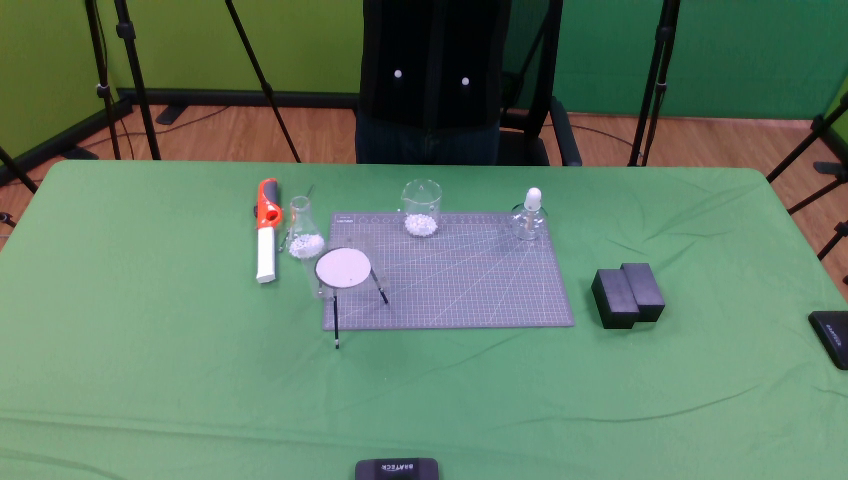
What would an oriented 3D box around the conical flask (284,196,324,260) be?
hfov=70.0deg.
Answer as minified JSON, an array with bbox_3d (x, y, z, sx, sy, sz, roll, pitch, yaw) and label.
[{"bbox_3d":[-0.230,-0.026,1.137,0.075,0.122,0.075,2,45,-2],"label":"conical flask"}]

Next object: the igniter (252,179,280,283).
[{"bbox_3d":[-0.312,-0.027,1.197,0.057,0.025,0.274,-12,47,-2],"label":"igniter"}]

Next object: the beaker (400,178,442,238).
[{"bbox_3d":[-0.009,-0.059,1.200,0.084,0.101,0.073,-14,48,-17],"label":"beaker"}]

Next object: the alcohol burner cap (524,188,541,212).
[{"bbox_3d":[0.212,-0.081,1.177,0.034,0.048,0.033,-2,54,2],"label":"alcohol burner cap"}]

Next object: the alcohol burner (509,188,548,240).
[{"bbox_3d":[0.211,-0.057,1.204,0.078,0.120,0.077,1,47,-1],"label":"alcohol burner"}]

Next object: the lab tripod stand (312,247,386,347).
[{"bbox_3d":[-0.134,0.085,1.028,0.148,0.132,0.147,2,45,-1],"label":"lab tripod stand"}]

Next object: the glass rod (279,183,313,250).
[{"bbox_3d":[-0.260,-0.052,1.239,0.008,0.008,0.198,10,47,6],"label":"glass rod"}]

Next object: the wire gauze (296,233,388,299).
[{"bbox_3d":[-0.133,0.041,0.977,0.125,0.011,0.120,-12,47,-16],"label":"wire gauze"}]
